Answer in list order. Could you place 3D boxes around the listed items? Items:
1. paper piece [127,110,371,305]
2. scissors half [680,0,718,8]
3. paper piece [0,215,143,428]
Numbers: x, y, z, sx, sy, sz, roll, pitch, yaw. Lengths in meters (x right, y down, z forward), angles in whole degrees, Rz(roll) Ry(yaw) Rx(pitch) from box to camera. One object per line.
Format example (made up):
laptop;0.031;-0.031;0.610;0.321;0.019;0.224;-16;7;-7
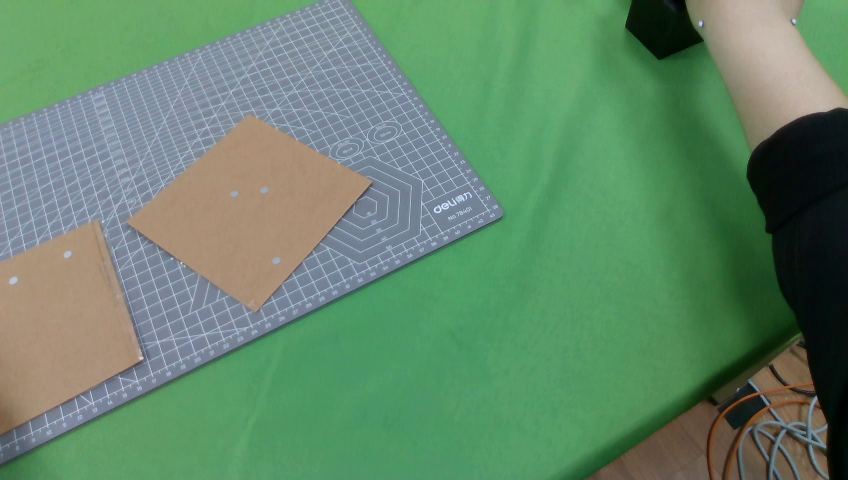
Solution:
paper piece;-0.134;-0.033;0.468;0.135;0.004;0.135;31;66;19
scissors half;0.196;-0.259;0.525;0.040;0.013;0.173;-18;62;-11
paper piece;-0.278;0.058;0.422;0.138;0.009;0.134;-28;58;-11
